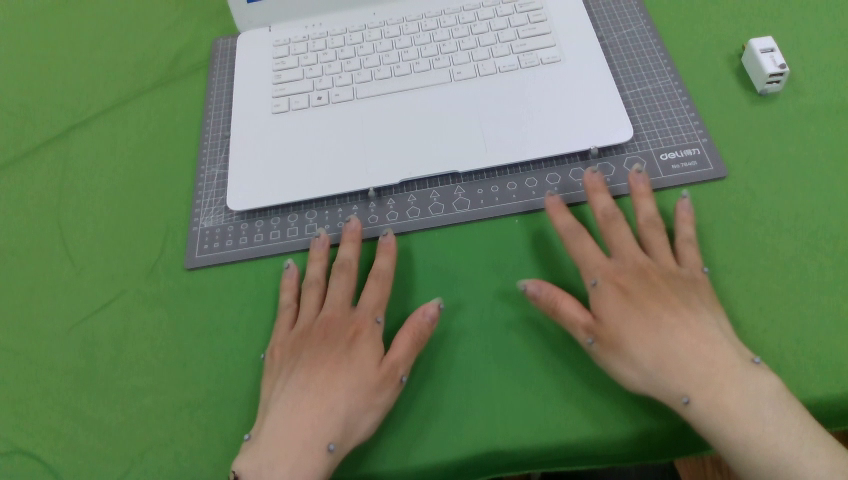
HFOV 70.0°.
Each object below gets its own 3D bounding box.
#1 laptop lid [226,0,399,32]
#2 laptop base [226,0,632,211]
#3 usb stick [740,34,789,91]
[{"bbox_3d":[-0.043,-0.335,0.564,0.357,0.244,0.013,-11,39,3],"label":"laptop lid"},{"bbox_3d":[-0.010,-0.148,0.577,0.354,0.023,0.233,-10,60,2],"label":"laptop base"},{"bbox_3d":[0.297,-0.161,0.533,0.021,0.027,0.058,-8,54,5],"label":"usb stick"}]
